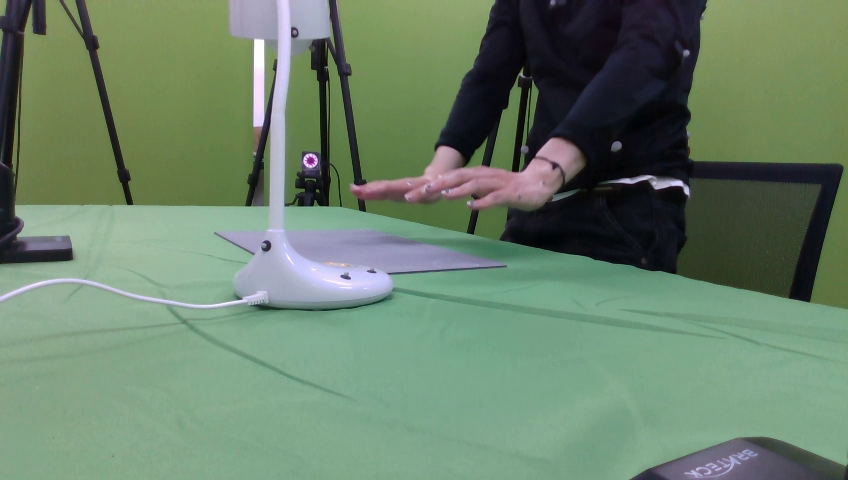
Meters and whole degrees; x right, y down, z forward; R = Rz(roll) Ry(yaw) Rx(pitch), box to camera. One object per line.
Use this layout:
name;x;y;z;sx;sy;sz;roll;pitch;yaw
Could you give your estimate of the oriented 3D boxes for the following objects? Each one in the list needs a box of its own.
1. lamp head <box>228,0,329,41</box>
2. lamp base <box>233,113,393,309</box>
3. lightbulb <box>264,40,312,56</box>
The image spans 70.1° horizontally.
lamp head;-0.160;-0.280;0.657;0.112;0.123;0.112;2;29;-1
lamp base;-0.113;-0.032;0.595;0.160;0.180;0.179;4;10;18
lightbulb;-0.156;-0.261;0.672;0.059;0.107;0.059;-3;23;2
